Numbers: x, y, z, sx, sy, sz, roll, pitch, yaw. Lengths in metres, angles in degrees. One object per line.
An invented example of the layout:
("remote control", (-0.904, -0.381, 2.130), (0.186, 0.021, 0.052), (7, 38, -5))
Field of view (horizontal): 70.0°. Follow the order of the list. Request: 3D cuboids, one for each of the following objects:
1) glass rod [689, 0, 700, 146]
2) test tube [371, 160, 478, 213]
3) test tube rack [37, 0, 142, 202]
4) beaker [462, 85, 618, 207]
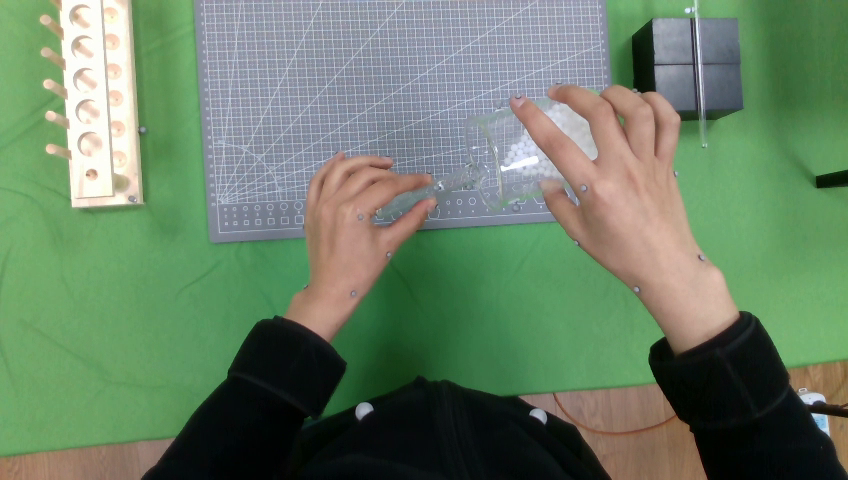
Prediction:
("glass rod", (0.291, -0.200, 0.651), (0.008, 0.008, 0.199), (-2, 90, -7))
("test tube", (-0.005, -0.046, 0.552), (0.017, 0.149, 0.017), (9, 75, -36))
("test tube rack", (-0.327, -0.162, 0.582), (0.067, 0.085, 0.242), (-4, 90, -7))
("beaker", (0.087, -0.073, 0.464), (0.100, 0.084, 0.074), (-16, 87, -8))
